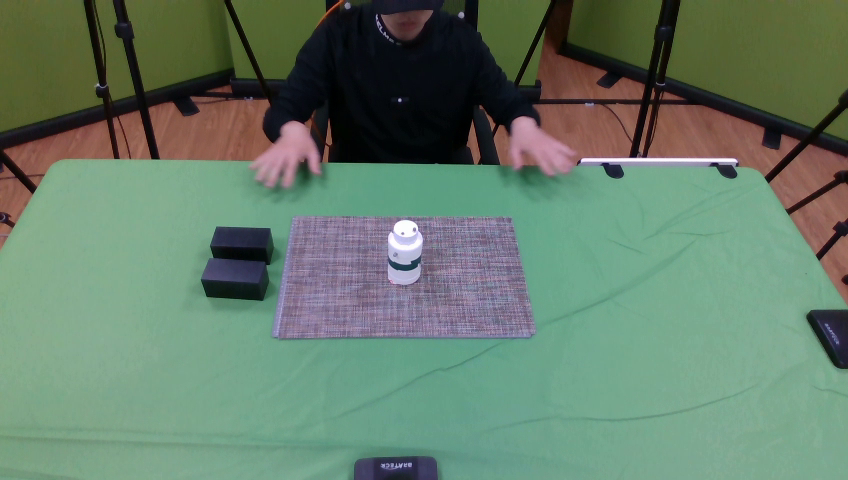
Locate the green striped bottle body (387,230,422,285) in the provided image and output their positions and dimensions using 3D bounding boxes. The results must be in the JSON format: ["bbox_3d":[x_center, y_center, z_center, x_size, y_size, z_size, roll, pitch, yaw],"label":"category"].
[{"bbox_3d":[-0.036,0.021,1.102,0.063,0.120,0.063,2,46,-2],"label":"green striped bottle body"}]

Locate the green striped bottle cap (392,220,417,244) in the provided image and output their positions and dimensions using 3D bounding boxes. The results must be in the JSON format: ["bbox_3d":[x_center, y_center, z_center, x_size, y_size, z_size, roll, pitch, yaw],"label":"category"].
[{"bbox_3d":[-0.035,-0.015,1.065,0.044,0.020,0.044,4,44,-4],"label":"green striped bottle cap"}]
